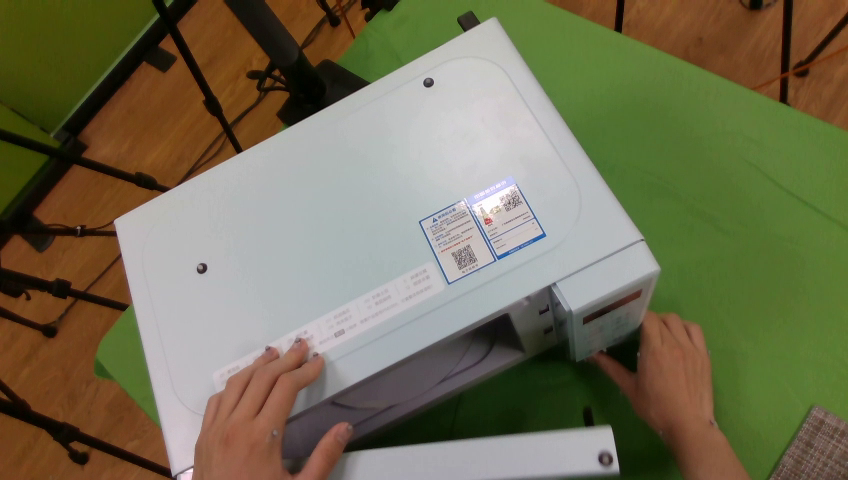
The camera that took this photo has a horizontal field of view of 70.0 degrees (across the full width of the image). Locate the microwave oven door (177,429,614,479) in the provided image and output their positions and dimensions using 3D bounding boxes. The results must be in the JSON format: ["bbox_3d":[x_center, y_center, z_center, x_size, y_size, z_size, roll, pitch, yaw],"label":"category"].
[{"bbox_3d":[-0.007,0.217,0.573,0.355,0.246,0.039,-10,65,11],"label":"microwave oven door"}]

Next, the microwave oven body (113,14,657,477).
[{"bbox_3d":[-0.040,0.031,0.659,0.442,0.262,0.323,-28,65,3],"label":"microwave oven body"}]

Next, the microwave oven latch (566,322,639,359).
[{"bbox_3d":[0.199,0.103,0.677,0.079,0.030,0.030,-26,65,4],"label":"microwave oven latch"}]
